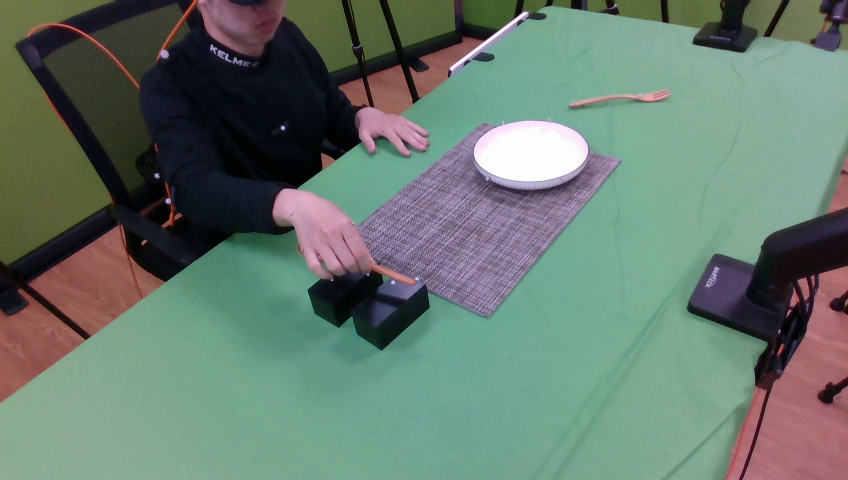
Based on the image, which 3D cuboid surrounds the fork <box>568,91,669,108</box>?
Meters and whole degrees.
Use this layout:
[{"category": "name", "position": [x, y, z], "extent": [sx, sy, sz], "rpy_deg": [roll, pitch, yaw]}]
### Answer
[{"category": "fork", "position": [0.402, -0.290, 1.252], "extent": [0.207, 0.019, 0.028], "rpy_deg": [-4, 47, 1]}]

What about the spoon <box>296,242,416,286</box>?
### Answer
[{"category": "spoon", "position": [-0.097, 0.034, 0.841], "extent": [0.192, 0.021, 0.042], "rpy_deg": [13, 21, 24]}]

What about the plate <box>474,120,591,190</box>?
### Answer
[{"category": "plate", "position": [0.196, -0.151, 1.099], "extent": [0.207, 0.039, 0.206], "rpy_deg": [-4, 40, 4]}]
